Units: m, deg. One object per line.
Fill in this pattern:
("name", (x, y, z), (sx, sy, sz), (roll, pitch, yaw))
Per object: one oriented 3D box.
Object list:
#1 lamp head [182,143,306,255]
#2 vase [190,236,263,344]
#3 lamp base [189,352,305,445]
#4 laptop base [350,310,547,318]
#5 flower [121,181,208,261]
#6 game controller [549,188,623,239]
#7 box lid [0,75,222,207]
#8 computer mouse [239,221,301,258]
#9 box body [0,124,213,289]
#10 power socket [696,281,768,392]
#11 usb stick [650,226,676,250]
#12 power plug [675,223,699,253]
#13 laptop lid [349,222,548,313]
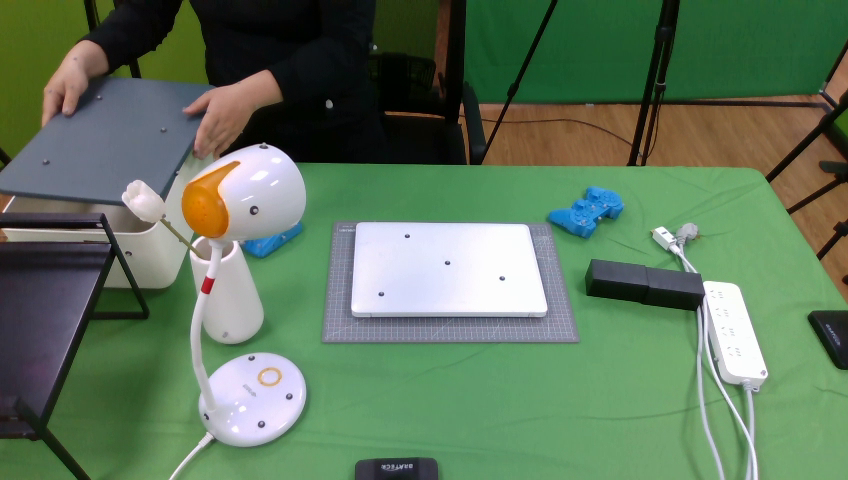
("lamp head", (-0.215, -0.044, 0.697), (0.112, 0.113, 0.123), (23, 31, 17))
("vase", (-0.317, 0.081, 0.972), (0.098, 0.201, 0.097), (3, 47, -3))
("lamp base", (-0.268, 0.196, 0.876), (0.160, 0.181, 0.179), (25, 52, 20))
("laptop base", (0.041, 0.056, 1.149), (0.355, 0.023, 0.234), (0, 43, -4))
("flower", (-0.329, 0.030, 0.905), (0.038, 0.364, 0.044), (-22, 58, -1))
("game controller", (0.346, -0.065, 1.272), (0.155, 0.052, 0.096), (-31, 58, -29))
("box lid", (-0.532, -0.184, 1.060), (0.263, 0.015, 0.369), (5, 43, -1))
("computer mouse", (-0.300, -0.016, 1.179), (0.062, 0.041, 0.117), (34, 57, 23))
("box body", (-0.563, -0.087, 1.139), (0.254, 0.161, 0.361), (2, 46, -3))
("power socket", (0.543, 0.161, 1.077), (0.072, 0.033, 0.225), (6, 46, 2))
("usb stick", (0.485, -0.008, 1.237), (0.021, 0.027, 0.059), (-22, 44, -13))
("power plug", (0.537, 0.000, 1.244), (0.053, 0.035, 0.072), (19, 83, -17))
("laptop lid", (0.042, 0.046, 1.142), (0.357, 0.013, 0.240), (2, 44, -3))
